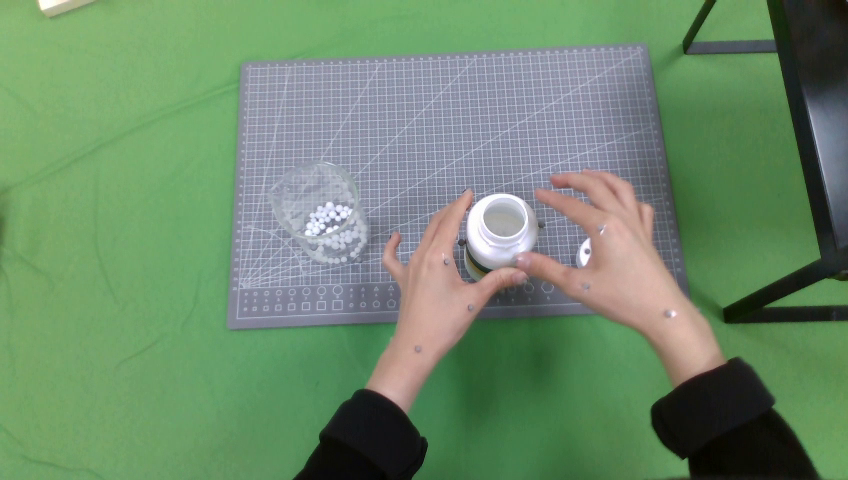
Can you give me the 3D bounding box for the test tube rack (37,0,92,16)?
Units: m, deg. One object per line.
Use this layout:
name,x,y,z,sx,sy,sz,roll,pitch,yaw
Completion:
test tube rack,-0.342,-0.348,0.685,0.242,0.085,0.066,-23,73,-5

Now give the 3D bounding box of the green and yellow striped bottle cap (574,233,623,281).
green and yellow striped bottle cap,0.171,0.016,0.595,0.045,0.020,0.045,-1,71,2

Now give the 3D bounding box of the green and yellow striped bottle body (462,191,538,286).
green and yellow striped bottle body,0.067,-0.002,0.548,0.063,0.120,0.063,0,73,2

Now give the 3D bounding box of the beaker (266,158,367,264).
beaker,-0.096,-0.022,0.570,0.084,0.101,0.073,8,72,5
